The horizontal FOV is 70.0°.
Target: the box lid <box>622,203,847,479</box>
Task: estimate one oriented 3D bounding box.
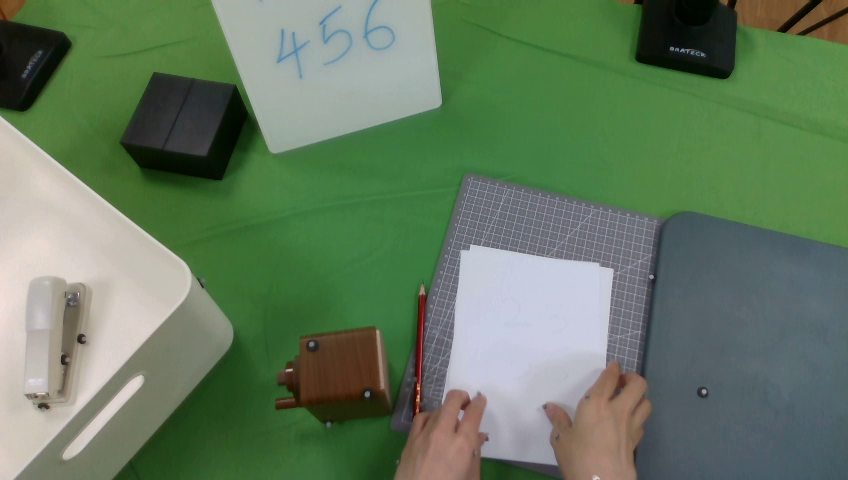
[{"bbox_3d":[0.343,0.144,0.598,0.263,0.015,0.369,14,67,5],"label":"box lid"}]

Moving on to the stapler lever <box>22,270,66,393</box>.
[{"bbox_3d":[-0.367,0.085,0.582,0.027,0.040,0.117,-6,69,0],"label":"stapler lever"}]

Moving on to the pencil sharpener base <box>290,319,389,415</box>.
[{"bbox_3d":[-0.075,0.119,0.556,0.077,0.108,0.061,-7,66,-2],"label":"pencil sharpener base"}]

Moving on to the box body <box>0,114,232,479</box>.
[{"bbox_3d":[-0.394,0.052,0.555,0.362,0.161,0.253,34,70,14],"label":"box body"}]

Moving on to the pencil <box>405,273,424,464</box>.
[{"bbox_3d":[-0.008,0.123,0.605,0.012,0.012,0.192,3,66,2],"label":"pencil"}]

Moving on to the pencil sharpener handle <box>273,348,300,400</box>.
[{"bbox_3d":[-0.125,0.124,0.540,0.031,0.068,0.035,-7,50,-2],"label":"pencil sharpener handle"}]

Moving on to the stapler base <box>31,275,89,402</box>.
[{"bbox_3d":[-0.368,0.094,0.606,0.041,0.024,0.129,-6,68,0],"label":"stapler base"}]

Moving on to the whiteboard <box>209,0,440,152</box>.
[{"bbox_3d":[-0.120,-0.287,0.662,0.217,0.308,0.142,-17,47,-7],"label":"whiteboard"}]
